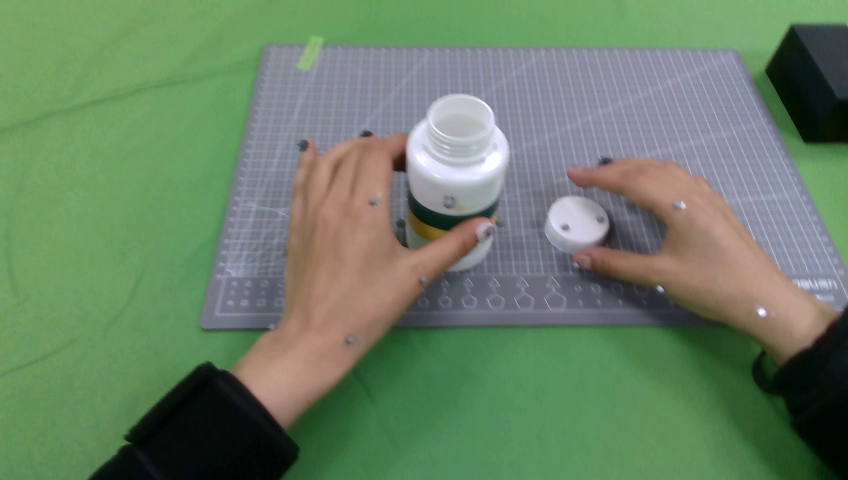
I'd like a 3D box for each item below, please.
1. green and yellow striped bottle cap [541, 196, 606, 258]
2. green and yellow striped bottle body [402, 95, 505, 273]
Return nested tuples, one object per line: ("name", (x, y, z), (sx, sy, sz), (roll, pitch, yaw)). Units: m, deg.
("green and yellow striped bottle cap", (0.109, -0.011, 0.441), (0.045, 0.020, 0.045), (1, 55, -1))
("green and yellow striped bottle body", (0.017, -0.035, 0.391), (0.063, 0.120, 0.062), (1, 55, -1))
